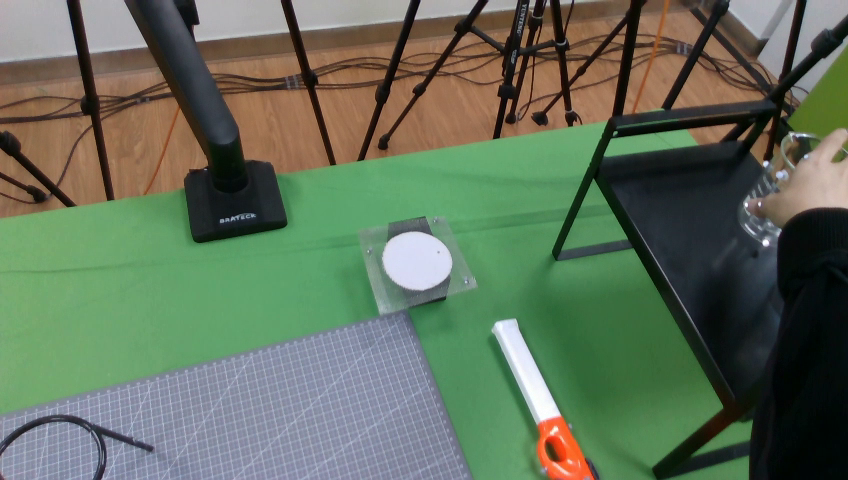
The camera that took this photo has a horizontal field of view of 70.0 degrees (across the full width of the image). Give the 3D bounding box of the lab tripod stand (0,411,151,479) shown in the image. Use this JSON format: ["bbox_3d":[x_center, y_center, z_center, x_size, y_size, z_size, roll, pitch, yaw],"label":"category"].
[{"bbox_3d":[-0.305,0.219,0.527,0.149,0.132,0.147,5,52,-6],"label":"lab tripod stand"}]

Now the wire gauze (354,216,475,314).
[{"bbox_3d":[-0.014,0.024,0.737,0.122,0.011,0.123,-11,56,-15],"label":"wire gauze"}]

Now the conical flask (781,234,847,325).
[{"bbox_3d":[0.396,0.019,0.558,0.075,0.123,0.074,3,52,-4],"label":"conical flask"}]

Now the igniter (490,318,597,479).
[{"bbox_3d":[0.138,0.207,0.668,0.057,0.025,0.273,-5,53,-25],"label":"igniter"}]

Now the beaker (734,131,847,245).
[{"bbox_3d":[0.373,-0.050,0.622,0.074,0.101,0.083,-6,53,-12],"label":"beaker"}]
